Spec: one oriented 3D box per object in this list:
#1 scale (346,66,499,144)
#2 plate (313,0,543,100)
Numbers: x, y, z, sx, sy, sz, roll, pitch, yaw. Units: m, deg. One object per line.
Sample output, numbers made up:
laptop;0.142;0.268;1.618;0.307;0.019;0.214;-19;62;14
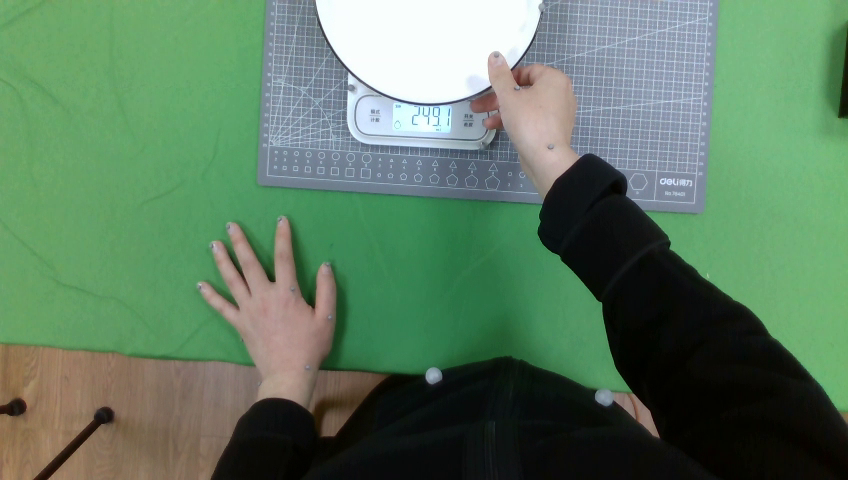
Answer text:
scale;0.001;-0.199;0.590;0.149;0.031;0.201;3;92;-1
plate;0.004;-0.229;0.556;0.209;0.038;0.209;0;92;-2
